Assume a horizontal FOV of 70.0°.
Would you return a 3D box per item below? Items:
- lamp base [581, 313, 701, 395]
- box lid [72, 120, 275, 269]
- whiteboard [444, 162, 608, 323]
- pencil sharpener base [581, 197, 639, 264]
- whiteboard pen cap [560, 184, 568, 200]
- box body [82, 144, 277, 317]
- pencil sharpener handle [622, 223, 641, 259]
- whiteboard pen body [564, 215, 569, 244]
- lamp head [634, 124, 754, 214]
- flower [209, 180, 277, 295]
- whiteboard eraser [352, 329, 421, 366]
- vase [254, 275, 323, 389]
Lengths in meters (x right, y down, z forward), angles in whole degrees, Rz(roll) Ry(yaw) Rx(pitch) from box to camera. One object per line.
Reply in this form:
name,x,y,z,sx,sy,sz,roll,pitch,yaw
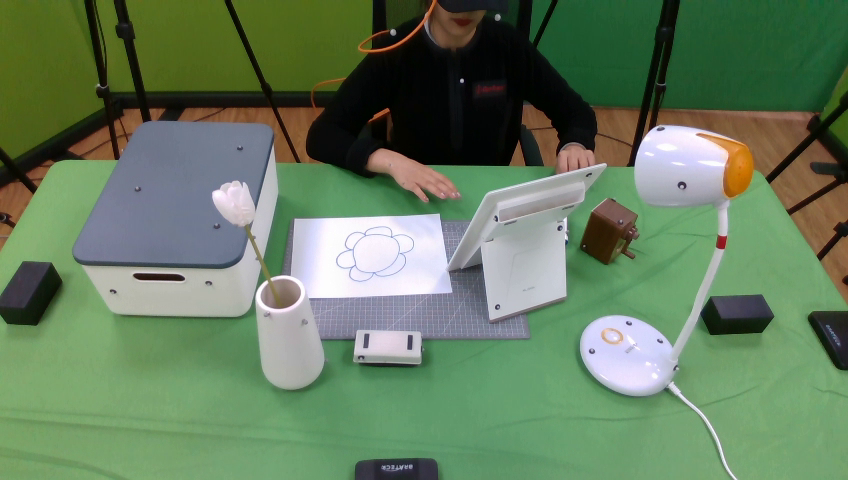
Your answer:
lamp base,0.361,0.144,0.972,0.178,0.181,0.160,34,53,23
box lid,-0.417,-0.094,1.056,0.263,0.015,0.369,1,47,-3
whiteboard,0.186,0.025,1.029,0.217,0.306,0.143,-14,68,-17
pencil sharpener base,0.362,-0.017,1.179,0.076,0.107,0.061,37,54,27
whiteboard pen cap,0.297,-0.101,1.285,0.018,0.018,0.033,8,63,4
box body,-0.421,-0.041,1.108,0.254,0.161,0.361,2,46,-3
pencil sharpener handle,0.397,0.002,1.146,0.030,0.068,0.036,37,46,27
whiteboard pen body,0.290,-0.051,1.252,0.017,0.017,0.140,7,57,2
lamp head,0.351,-0.089,0.776,0.112,0.113,0.122,-30,30,-28
flower,-0.217,0.075,0.871,0.044,0.363,0.038,-28,36,-19
whiteboard eraser,-0.061,0.180,1.005,0.113,0.042,0.055,3,48,-3
vase,-0.209,0.143,0.921,0.098,0.201,0.097,1,46,-1
